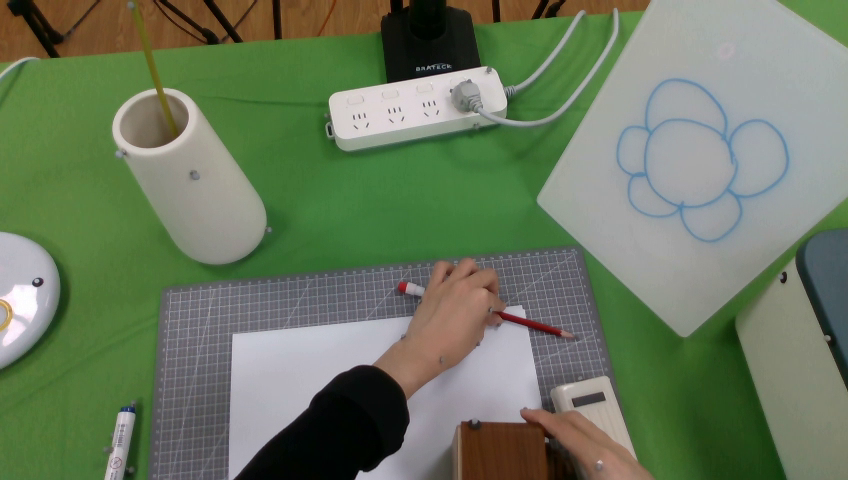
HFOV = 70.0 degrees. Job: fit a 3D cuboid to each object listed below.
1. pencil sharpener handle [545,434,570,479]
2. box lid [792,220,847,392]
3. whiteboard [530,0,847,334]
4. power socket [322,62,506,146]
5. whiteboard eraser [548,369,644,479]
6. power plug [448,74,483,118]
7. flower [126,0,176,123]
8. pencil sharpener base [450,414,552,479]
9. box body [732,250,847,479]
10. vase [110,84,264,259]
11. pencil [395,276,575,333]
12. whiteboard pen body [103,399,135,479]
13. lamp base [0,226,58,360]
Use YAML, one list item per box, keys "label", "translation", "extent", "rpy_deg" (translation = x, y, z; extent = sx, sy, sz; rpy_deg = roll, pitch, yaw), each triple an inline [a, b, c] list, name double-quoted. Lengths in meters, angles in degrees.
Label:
- label: "pencil sharpener handle"
  translation: [0.113, 0.180, 0.506]
  extent: [0.030, 0.068, 0.036]
  rpy_deg: [1, 75, 0]
- label: "box lid"
  translation: [0.450, 0.137, 0.434]
  extent: [0.263, 0.015, 0.368]
  rpy_deg: [-6, 64, -4]
- label: "whiteboard"
  translation: [0.279, -0.094, 0.581]
  extent: [0.144, 0.307, 0.215]
  rpy_deg: [-29, 66, -34]
- label: "power socket"
  translation: [-0.010, -0.164, 0.727]
  extent: [0.227, 0.033, 0.071]
  rpy_deg: [-11, 66, -6]
- label: "whiteboard eraser"
  translation: [0.157, 0.179, 0.558]
  extent: [0.056, 0.042, 0.111]
  rpy_deg: [-11, 65, -7]
- label: "power plug"
  translation: [0.046, -0.159, 0.699]
  extent: [0.035, 0.053, 0.072]
  rpy_deg: [-2, 66, -1]
- label: "flower"
  translation: [-0.218, -0.111, 0.516]
  extent: [0.038, 0.365, 0.043]
  rpy_deg: [-17, 47, -16]
- label: "pencil sharpener base"
  translation: [0.062, 0.188, 0.516]
  extent: [0.077, 0.108, 0.061]
  rpy_deg: [1, 64, 0]
- label: "box body"
  translation: [0.449, 0.172, 0.501]
  extent: [0.254, 0.161, 0.361]
  rpy_deg: [-6, 65, -4]
- label: "vase"
  translation: [-0.222, -0.058, 0.582]
  extent: [0.098, 0.201, 0.097]
  rpy_deg: [0, 64, 1]
- label: "pencil"
  translation: [0.063, 0.068, 0.629]
  extent: [0.194, 0.012, 0.012]
  rpy_deg: [16, 65, 5]
- label: "whiteboard pen body"
  translation: [-0.282, 0.214, 0.548]
  extent: [0.017, 0.017, 0.139]
  rpy_deg: [-2, 60, -1]
- label: "lamp base"
  translation: [-0.470, 0.018, 0.552]
  extent: [0.178, 0.181, 0.160]
  rpy_deg: [24, 66, 14]
